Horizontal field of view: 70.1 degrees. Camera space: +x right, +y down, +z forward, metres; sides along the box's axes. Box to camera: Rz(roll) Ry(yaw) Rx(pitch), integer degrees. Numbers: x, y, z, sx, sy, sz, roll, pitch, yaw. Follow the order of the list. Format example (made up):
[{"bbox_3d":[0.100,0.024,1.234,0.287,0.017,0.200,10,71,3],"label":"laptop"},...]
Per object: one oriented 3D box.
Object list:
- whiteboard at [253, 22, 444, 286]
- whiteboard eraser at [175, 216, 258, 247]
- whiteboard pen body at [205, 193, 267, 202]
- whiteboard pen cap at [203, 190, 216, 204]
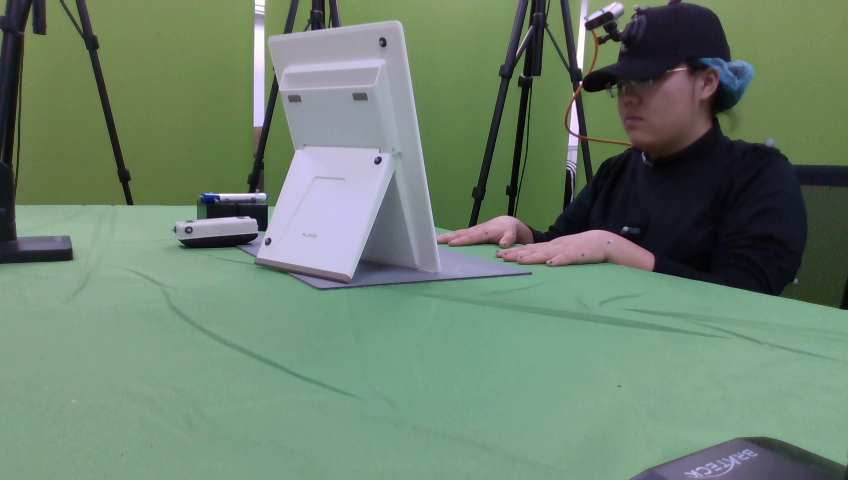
[{"bbox_3d":[-0.125,-0.081,0.715,0.216,0.305,0.144,9,29,36],"label":"whiteboard"},{"bbox_3d":[-0.313,-0.013,0.914,0.113,0.042,0.055,-5,12,-30],"label":"whiteboard eraser"},{"bbox_3d":[-0.354,-0.081,1.147,0.017,0.017,0.141,8,9,33],"label":"whiteboard pen body"},{"bbox_3d":[-0.388,-0.077,1.093,0.018,0.018,0.033,2,25,-7],"label":"whiteboard pen cap"}]
